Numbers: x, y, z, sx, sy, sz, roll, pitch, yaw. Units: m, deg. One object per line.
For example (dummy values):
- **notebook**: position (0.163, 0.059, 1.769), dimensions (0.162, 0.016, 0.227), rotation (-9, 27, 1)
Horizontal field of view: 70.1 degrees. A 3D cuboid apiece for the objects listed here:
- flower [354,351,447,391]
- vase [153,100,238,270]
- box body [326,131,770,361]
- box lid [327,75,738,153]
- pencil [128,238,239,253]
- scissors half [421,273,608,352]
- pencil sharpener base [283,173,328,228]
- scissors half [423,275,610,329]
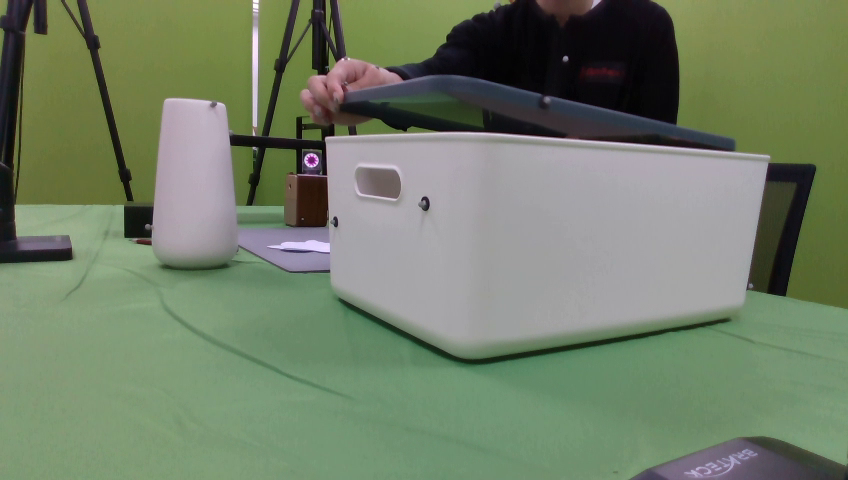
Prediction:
- **flower**: position (0.104, 0.075, 0.587), dimensions (0.363, 0.044, 0.038), rotation (-20, 36, -13)
- **vase**: position (-0.278, -0.066, 0.736), dimensions (0.098, 0.200, 0.098), rotation (2, 8, 0)
- **box body**: position (0.112, -0.010, 0.583), dimensions (0.366, 0.160, 0.253), rotation (-2, 9, -32)
- **box lid**: position (0.109, -0.115, 0.628), dimensions (0.373, 0.015, 0.262), rotation (4, 5, -32)
- **pencil**: position (-0.350, 0.007, 0.873), dimensions (0.193, 0.012, 0.012), rotation (5, 8, 18)
- **scissors half**: position (0.076, 0.066, 0.534), dimensions (0.174, 0.040, 0.013), rotation (17, 57, 25)
- **pencil sharpener base**: position (-0.239, -0.081, 1.231), dimensions (0.077, 0.107, 0.061), rotation (-2, 8, -36)
- **scissors half**: position (0.074, 0.056, 0.523), dimensions (0.174, 0.040, 0.013), rotation (11, 48, 30)
